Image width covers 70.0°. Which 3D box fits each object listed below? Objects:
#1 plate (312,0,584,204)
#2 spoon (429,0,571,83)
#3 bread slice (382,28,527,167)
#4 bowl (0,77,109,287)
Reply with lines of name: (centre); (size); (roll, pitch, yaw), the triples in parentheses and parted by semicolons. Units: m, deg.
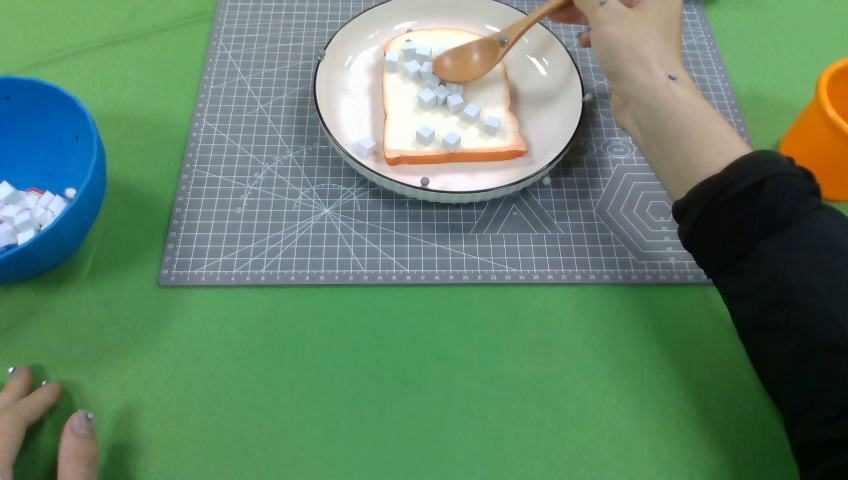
plate: (0.018, -0.113, 0.480); (0.209, 0.038, 0.207); (1, 61, -1)
spoon: (0.091, -0.171, 0.453); (0.194, 0.022, 0.041); (-30, 54, 10)
bread slice: (0.015, -0.116, 0.485); (0.107, 0.018, 0.133); (-7, 63, -5)
bowl: (-0.275, -0.025, 0.398); (0.151, 0.077, 0.150); (1, 60, -2)
